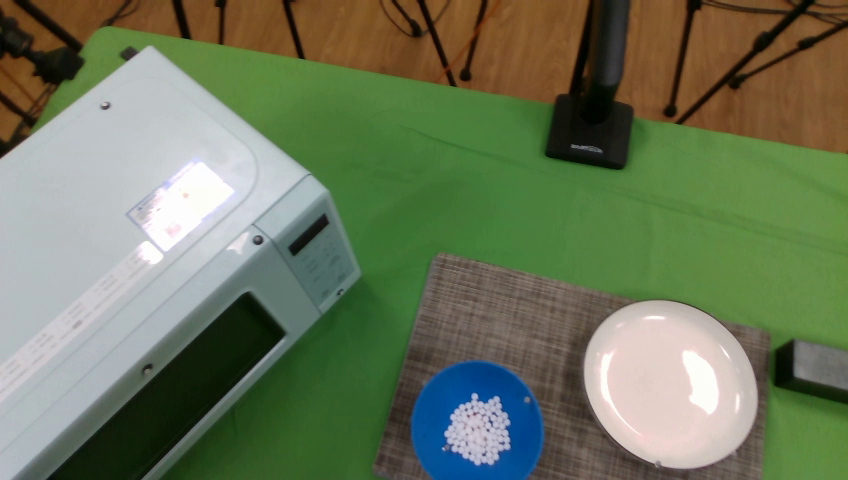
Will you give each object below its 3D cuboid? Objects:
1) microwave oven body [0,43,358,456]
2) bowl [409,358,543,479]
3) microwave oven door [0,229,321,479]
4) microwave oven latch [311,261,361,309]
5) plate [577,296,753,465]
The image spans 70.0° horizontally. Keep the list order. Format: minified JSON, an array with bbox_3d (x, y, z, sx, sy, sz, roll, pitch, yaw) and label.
[{"bbox_3d":[-0.353,0.049,0.718,0.324,0.262,0.441,39,74,18],"label":"microwave oven body"},{"bbox_3d":[0.060,0.222,0.718,0.151,0.077,0.150,-1,65,3],"label":"bowl"},{"bbox_3d":[-0.273,0.162,0.657,0.039,0.245,0.355,38,73,19],"label":"microwave oven door"},{"bbox_3d":[-0.119,0.054,0.810,0.030,0.030,0.079,41,74,18],"label":"microwave oven latch"},{"bbox_3d":[0.293,0.172,0.752,0.207,0.039,0.206,-1,66,2],"label":"plate"}]
